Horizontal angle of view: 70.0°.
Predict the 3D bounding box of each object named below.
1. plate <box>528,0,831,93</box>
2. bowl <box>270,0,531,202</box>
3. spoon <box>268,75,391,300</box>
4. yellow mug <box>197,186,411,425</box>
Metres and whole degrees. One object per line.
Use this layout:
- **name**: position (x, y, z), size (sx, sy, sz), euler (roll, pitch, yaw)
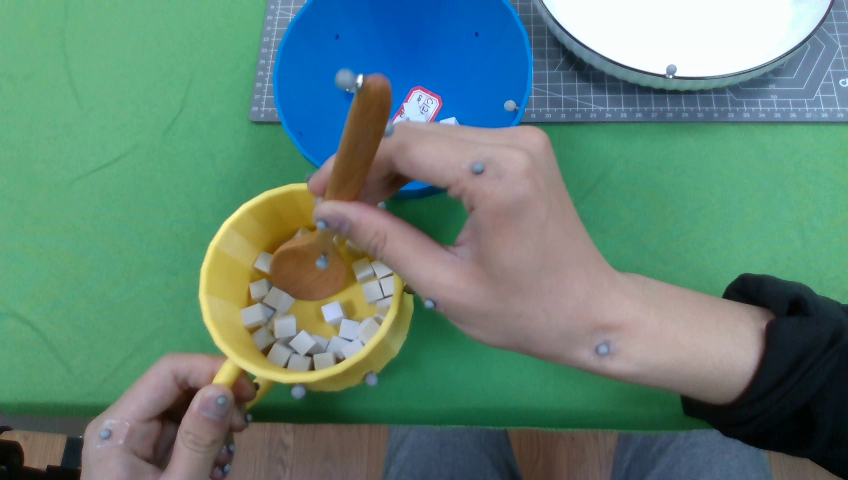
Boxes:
- **plate**: position (0.171, -0.188, 0.427), size (0.209, 0.038, 0.207), euler (-1, 70, 4)
- **bowl**: position (-0.011, -0.085, 0.382), size (0.151, 0.077, 0.150), euler (-1, 74, 4)
- **spoon**: position (-0.041, -0.008, 0.265), size (0.042, 0.194, 0.021), euler (16, 66, -13)
- **yellow mug**: position (-0.067, 0.041, 0.318), size (0.099, 0.064, 0.130), euler (34, 78, 11)
